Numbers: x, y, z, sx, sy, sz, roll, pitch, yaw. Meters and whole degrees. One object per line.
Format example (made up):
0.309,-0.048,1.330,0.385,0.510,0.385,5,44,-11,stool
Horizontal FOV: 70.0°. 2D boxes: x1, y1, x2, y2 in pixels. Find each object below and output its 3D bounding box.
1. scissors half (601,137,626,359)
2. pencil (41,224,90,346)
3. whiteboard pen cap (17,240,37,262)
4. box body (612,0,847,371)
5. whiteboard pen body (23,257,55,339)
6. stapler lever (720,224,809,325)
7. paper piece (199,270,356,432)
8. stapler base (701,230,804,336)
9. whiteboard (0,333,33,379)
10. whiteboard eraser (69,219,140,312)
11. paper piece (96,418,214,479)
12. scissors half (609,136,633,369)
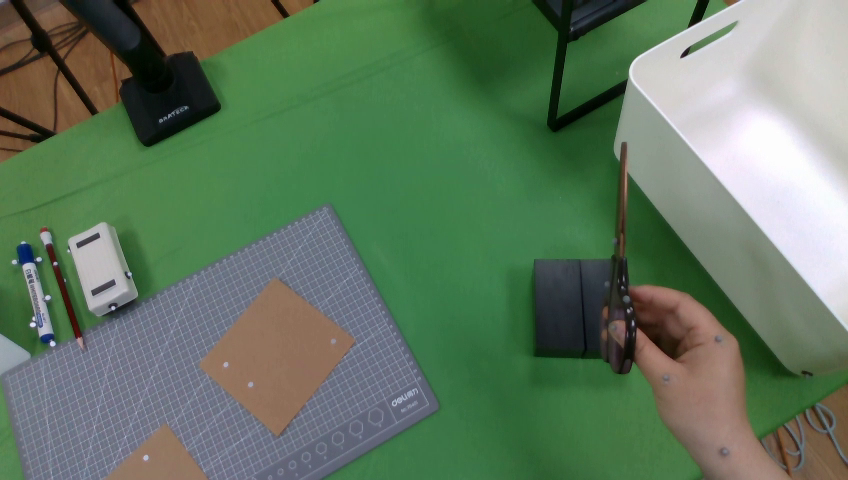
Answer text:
0.150,0.008,0.473,0.013,0.040,0.175,1,102,2,scissors half
-0.457,0.054,0.772,0.012,0.012,0.192,-31,68,-7,pencil
-0.518,0.016,0.790,0.018,0.018,0.033,-30,66,-6,whiteboard pen cap
0.405,-0.072,0.646,0.254,0.161,0.361,-29,68,-6,box body
-0.492,0.064,0.769,0.017,0.017,0.139,-28,67,-5,whiteboard pen body
0.365,0.034,0.649,0.027,0.040,0.117,-33,72,-5,stapler lever
-0.173,0.127,0.710,0.137,0.009,0.136,36,80,16,paper piece
0.366,0.042,0.674,0.041,0.024,0.129,-33,71,-5,stapler base
-0.638,0.059,0.664,0.217,0.309,0.142,-29,48,-5,whiteboard
-0.399,0.032,0.759,0.055,0.042,0.112,-30,68,-5,whiteboard eraser
-0.297,0.289,0.658,0.135,0.004,0.135,-43,70,-11,paper piece
0.148,0.009,0.453,0.013,0.040,0.175,1,86,7,scissors half
